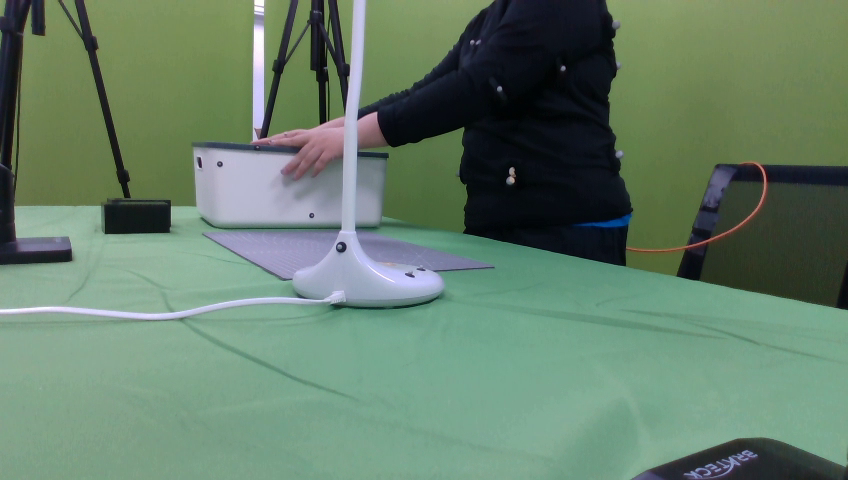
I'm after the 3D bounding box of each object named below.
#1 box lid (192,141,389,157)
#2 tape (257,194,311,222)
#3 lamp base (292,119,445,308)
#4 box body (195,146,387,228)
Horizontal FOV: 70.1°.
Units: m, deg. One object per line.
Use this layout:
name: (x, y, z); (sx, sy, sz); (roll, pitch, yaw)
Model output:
box lid: (-0.287, -0.190, 1.281); (0.373, 0.015, 0.262); (-1, 8, -28)
tape: (-0.301, -0.070, 1.297); (0.117, 0.052, 0.117); (3, 7, 0)
lamp base: (-0.056, -0.030, 0.616); (0.160, 0.180, 0.179); (4, 10, 8)
box body: (-0.288, -0.118, 1.291); (0.366, 0.160, 0.253); (-1, 8, -28)
